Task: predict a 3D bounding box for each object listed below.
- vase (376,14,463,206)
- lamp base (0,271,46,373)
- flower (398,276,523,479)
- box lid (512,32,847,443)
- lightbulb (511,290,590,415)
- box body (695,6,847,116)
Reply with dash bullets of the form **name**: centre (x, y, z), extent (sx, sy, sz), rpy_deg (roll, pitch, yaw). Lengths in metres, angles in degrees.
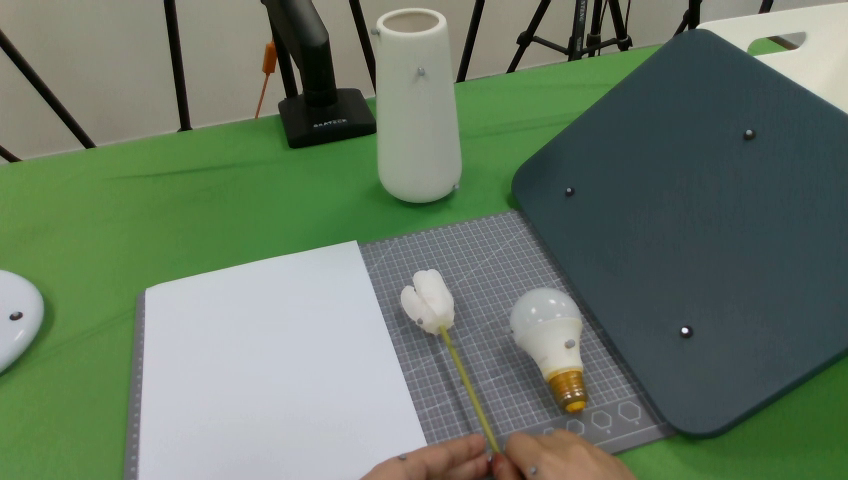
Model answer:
- **vase**: centre (-0.008, -0.135, 0.658), extent (0.098, 0.202, 0.097), rpy_deg (-3, 40, 3)
- **lamp base**: centre (-0.447, 0.025, 0.508), extent (0.178, 0.182, 0.160), rpy_deg (21, 46, 28)
- **flower**: centre (0.056, 0.153, 0.445), extent (0.044, 0.038, 0.357), rpy_deg (-34, 45, 3)
- **box lid**: centre (0.243, -0.032, 0.545), extent (0.263, 0.015, 0.367), rpy_deg (-41, 40, 15)
- **lightbulb**: centre (0.109, 0.092, 0.499), extent (0.059, 0.060, 0.106), rpy_deg (-10, 57, -8)
- **box body**: centre (0.455, -0.083, 0.600), extent (0.254, 0.162, 0.360), rpy_deg (-11, 41, -9)
